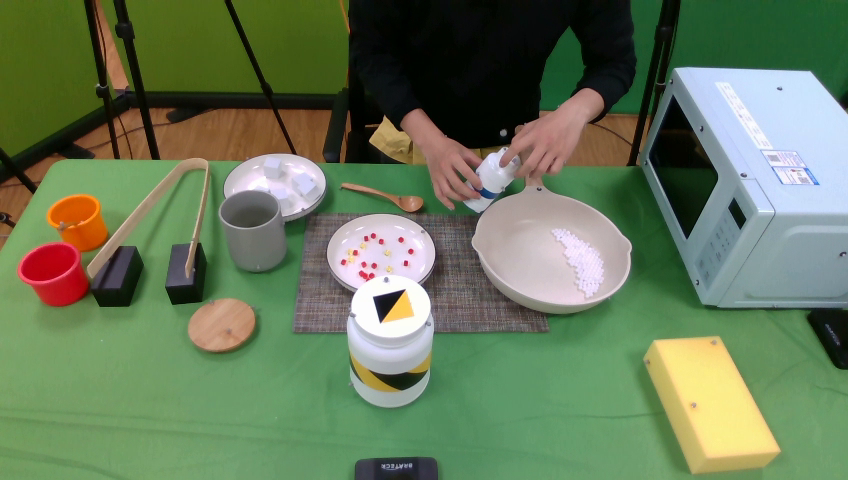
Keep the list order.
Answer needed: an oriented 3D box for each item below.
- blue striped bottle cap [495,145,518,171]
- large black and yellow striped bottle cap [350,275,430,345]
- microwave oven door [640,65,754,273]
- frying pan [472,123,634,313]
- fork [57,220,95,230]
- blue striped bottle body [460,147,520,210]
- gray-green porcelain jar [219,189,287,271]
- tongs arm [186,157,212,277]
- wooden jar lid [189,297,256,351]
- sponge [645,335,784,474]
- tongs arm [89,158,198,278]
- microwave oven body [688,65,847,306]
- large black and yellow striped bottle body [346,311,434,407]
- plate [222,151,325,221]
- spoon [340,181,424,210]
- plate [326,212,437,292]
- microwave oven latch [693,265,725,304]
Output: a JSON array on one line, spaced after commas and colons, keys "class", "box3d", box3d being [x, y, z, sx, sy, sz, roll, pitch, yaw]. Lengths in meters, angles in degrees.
[{"class": "blue striped bottle cap", "box3d": [0.143, -0.142, 1.051, 0.045, 0.020, 0.044, 39, 30, -28]}, {"class": "large black and yellow striped bottle cap", "box3d": [-0.048, 0.097, 0.868, 0.115, 0.019, 0.114, 3, 48, -3]}, {"class": "microwave oven door", "box3d": [0.523, -0.147, 1.193, 0.039, 0.245, 0.353, 0, 47, -3]}, {"class": "frying pan", "box3d": [0.235, -0.061, 1.207, 0.307, 0.103, 0.484, 1, 55, -6]}, {"class": "fork", "box3d": [-0.624, -0.027, 1.086, 0.028, 0.207, 0.018, -3, 92, -17]}, {"class": "blue striped bottle body", "box3d": [0.121, -0.113, 1.085, 0.063, 0.121, 0.062, 22, 44, -22]}, {"class": "gray-green porcelain jar", "box3d": [-0.310, -0.014, 1.113, 0.106, 0.127, 0.105, 2, 46, -2]}, {"class": "tongs arm", "box3d": [-0.445, -0.058, 1.168, 0.051, 0.026, 0.382, -5, 37, -6]}, {"class": "wooden jar lid", "box3d": [-0.342, 0.145, 1.033, 0.108, 0.021, 0.107, 2, 45, -2]}, {"class": "sponge", "box3d": [0.449, 0.253, 0.956, 0.118, 0.061, 0.205, -4, 46, -7]}, {"class": "tongs arm", "box3d": [-0.529, -0.057, 1.164, 0.028, 0.028, 0.385, 1, 36, 8]}, {"class": "microwave oven body", "box3d": [0.669, -0.111, 1.176, 0.326, 0.261, 0.439, 0, 46, -3]}, {"class": "large black and yellow striped bottle body", "box3d": [-0.052, 0.157, 0.929, 0.131, 0.185, 0.130, 2, 46, -2]}, {"class": "plate", "box3d": [-0.310, -0.106, 1.263, 0.208, 0.039, 0.206, 2, 47, -2]}, {"class": "spoon", "box3d": [-0.091, -0.100, 1.282, 0.193, 0.022, 0.041, 18, 61, 13]}, {"class": "plate", "box3d": [-0.080, 0.030, 1.143, 0.209, 0.038, 0.208, 2, 46, -2]}, {"class": "microwave oven latch", "box3d": [0.523, 0.081, 1.116, 0.030, 0.029, 0.078, 2, 46, -1]}]
